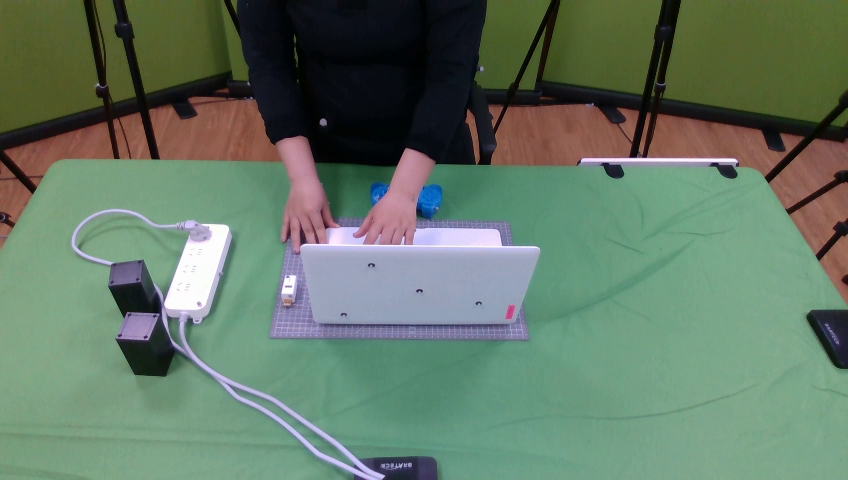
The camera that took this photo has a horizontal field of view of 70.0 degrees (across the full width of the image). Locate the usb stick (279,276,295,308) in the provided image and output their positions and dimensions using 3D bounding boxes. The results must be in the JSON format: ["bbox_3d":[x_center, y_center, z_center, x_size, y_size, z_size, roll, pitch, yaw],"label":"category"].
[{"bbox_3d":[-0.245,0.093,1.080,0.021,0.027,0.059,3,47,-5],"label":"usb stick"}]

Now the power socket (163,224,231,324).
[{"bbox_3d":[-0.411,0.052,1.107,0.072,0.033,0.225,3,46,-3],"label":"power socket"}]

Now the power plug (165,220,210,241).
[{"bbox_3d":[-0.440,-0.015,1.143,0.072,0.053,0.035,6,46,9],"label":"power plug"}]

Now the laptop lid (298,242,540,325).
[{"bbox_3d":[-0.010,0.076,0.958,0.357,0.243,0.013,1,53,-5],"label":"laptop lid"}]

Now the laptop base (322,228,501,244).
[{"bbox_3d":[-0.020,0.064,1.136,0.355,0.023,0.234,1,42,-4],"label":"laptop base"}]

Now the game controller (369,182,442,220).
[{"bbox_3d":[-0.039,-0.091,1.268,0.155,0.052,0.096,1,50,-2],"label":"game controller"}]
